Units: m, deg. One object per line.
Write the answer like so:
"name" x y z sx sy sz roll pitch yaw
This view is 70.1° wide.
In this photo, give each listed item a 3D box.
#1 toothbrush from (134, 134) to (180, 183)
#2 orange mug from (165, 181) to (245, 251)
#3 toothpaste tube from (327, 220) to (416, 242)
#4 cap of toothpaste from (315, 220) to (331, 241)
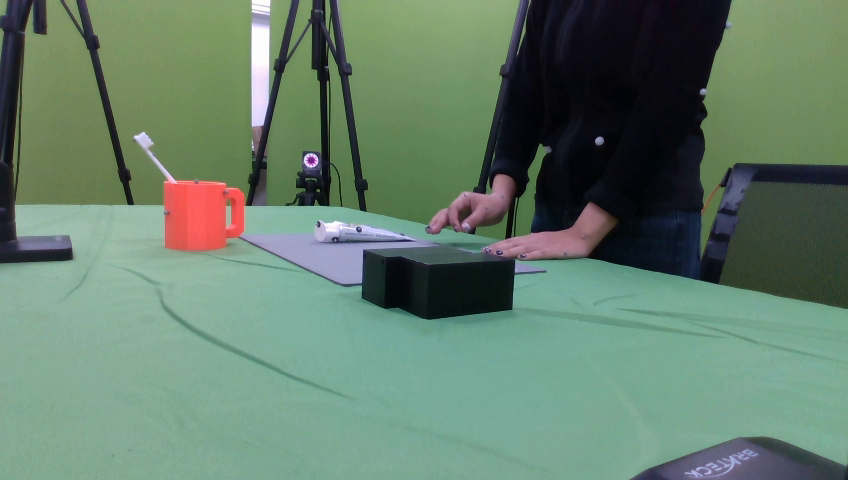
"toothbrush" -0.349 -0.077 0.874 0.014 0.182 0.017 -13 30 46
"orange mug" -0.326 -0.040 0.911 0.083 0.101 0.127 8 14 37
"toothpaste tube" -0.095 -0.012 1.026 0.166 0.034 0.055 2 13 -33
"cap of toothpaste" -0.164 -0.016 0.982 0.011 0.037 0.037 -8 12 -43
